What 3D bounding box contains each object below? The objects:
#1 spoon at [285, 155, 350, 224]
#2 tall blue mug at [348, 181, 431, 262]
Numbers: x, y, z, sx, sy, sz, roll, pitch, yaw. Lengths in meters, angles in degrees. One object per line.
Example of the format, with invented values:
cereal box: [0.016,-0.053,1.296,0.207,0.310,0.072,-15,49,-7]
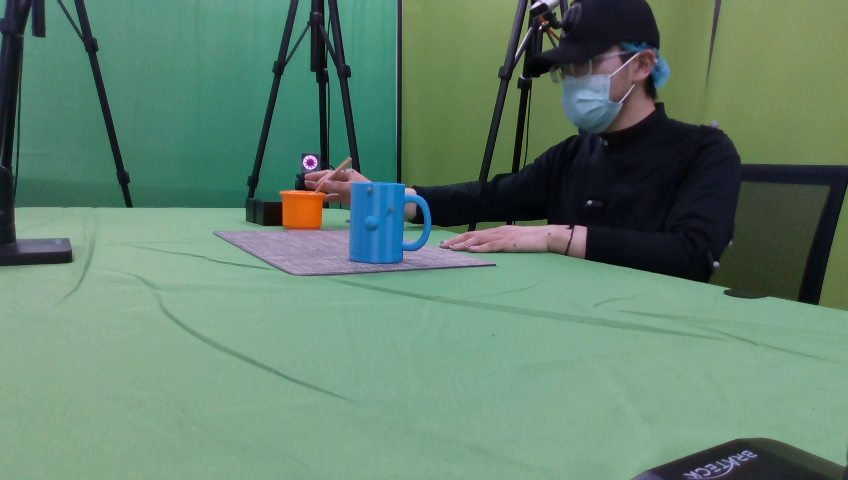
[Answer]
spoon: [-0.214,-0.103,1.229,0.022,0.194,0.041,42,-13,-23]
tall blue mug: [-0.052,-0.028,0.849,0.108,0.108,0.077,-1,7,-22]
